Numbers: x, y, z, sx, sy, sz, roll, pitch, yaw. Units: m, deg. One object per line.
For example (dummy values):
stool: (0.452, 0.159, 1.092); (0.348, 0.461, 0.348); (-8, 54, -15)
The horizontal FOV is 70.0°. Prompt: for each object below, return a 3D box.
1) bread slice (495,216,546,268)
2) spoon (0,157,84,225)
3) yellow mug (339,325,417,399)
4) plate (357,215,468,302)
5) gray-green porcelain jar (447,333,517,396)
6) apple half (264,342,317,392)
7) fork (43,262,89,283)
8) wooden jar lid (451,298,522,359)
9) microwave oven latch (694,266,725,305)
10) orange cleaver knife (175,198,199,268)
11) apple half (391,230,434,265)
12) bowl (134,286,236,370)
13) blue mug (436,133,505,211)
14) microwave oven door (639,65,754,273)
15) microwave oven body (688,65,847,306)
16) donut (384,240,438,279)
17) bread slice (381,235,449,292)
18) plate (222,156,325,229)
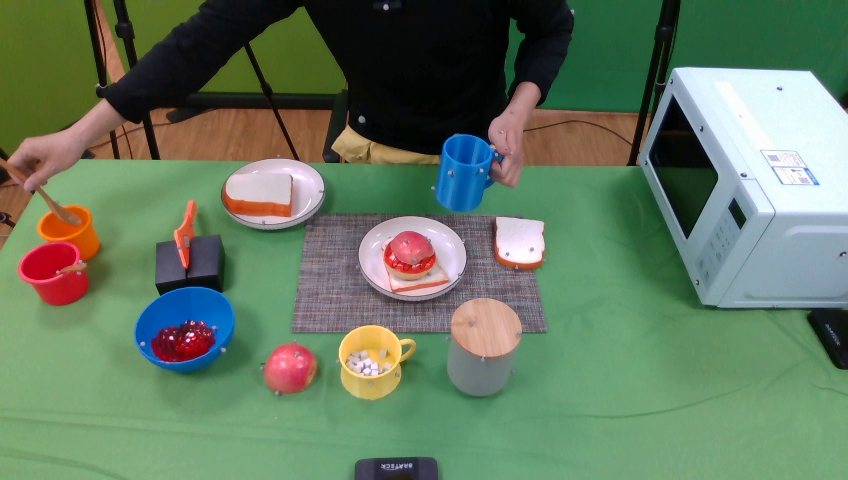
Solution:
bread slice: (0.194, 0.002, 1.205); (0.105, 0.019, 0.131); (5, 45, 2)
spoon: (-0.662, -0.087, 1.036); (0.021, 0.195, 0.041); (-30, 46, -2)
yellow mug: (-0.072, 0.190, 0.978); (0.131, 0.064, 0.099); (-17, 50, -20)
plate: (-0.022, 0.037, 1.141); (0.208, 0.039, 0.206); (2, 46, -2)
gray-green porcelain jar: (0.091, 0.178, 0.960); (0.106, 0.127, 0.105); (2, 46, -2)
apple half: (-0.214, 0.198, 0.970); (0.074, 0.053, 0.080); (19, 48, 10)
fork: (-0.599, 0.053, 1.013); (0.207, 0.019, 0.028); (-14, 30, 45)
wooden jar lid: (0.093, 0.135, 0.914); (0.108, 0.021, 0.107); (2, 48, -3)
microwave oven latch: (0.523, 0.082, 1.115); (0.030, 0.029, 0.078); (3, 46, 0)
orange cleaver knife: (-0.438, -0.017, 1.138); (0.012, 0.077, 0.210); (-14, 27, -6)
apple half: (-0.021, 0.004, 1.085); (0.081, 0.033, 0.081); (7, 44, -7)
bowl: (-0.377, 0.155, 0.981); (0.151, 0.077, 0.150); (2, 46, -2)
blue mug: (0.082, -0.116, 1.020); (0.117, 0.106, 0.082); (-10, 51, -17)
microwave oven door: (0.522, -0.147, 1.192); (0.039, 0.245, 0.353); (0, 47, -3)
microwave oven body: (0.669, -0.111, 1.176); (0.326, 0.261, 0.439); (0, 46, -3)
donut: (-0.025, 0.029, 1.109); (0.099, 0.048, 0.098); (2, 46, -2)
bread slice: (-0.026, 0.038, 1.139); (0.107, 0.018, 0.133); (-12, 47, -15)
plate: (-0.308, -0.095, 1.251); (0.209, 0.038, 0.208); (2, 47, -2)
